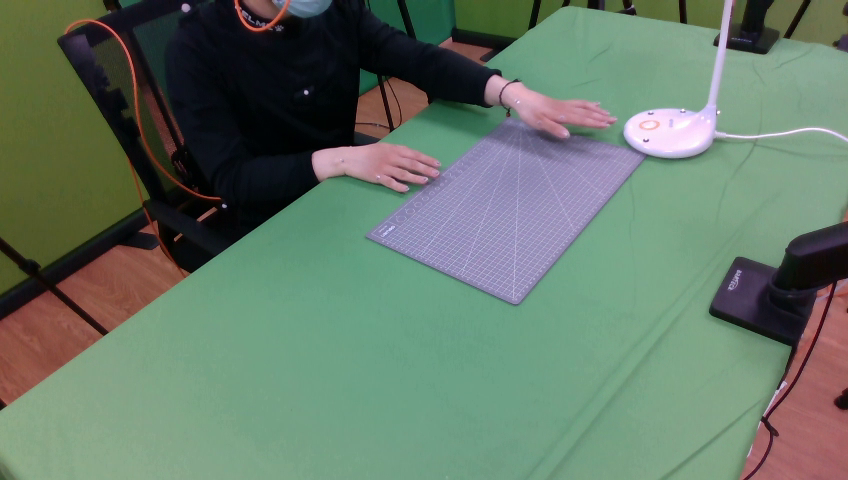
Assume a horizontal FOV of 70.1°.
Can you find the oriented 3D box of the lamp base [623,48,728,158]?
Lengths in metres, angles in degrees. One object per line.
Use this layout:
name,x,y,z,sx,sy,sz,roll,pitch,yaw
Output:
lamp base,0.462,-0.261,1.084,0.179,0.181,0.160,3,42,7
